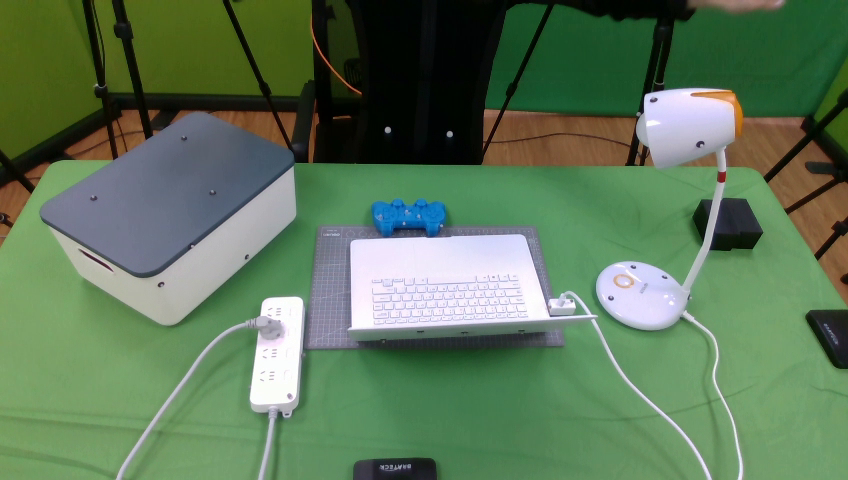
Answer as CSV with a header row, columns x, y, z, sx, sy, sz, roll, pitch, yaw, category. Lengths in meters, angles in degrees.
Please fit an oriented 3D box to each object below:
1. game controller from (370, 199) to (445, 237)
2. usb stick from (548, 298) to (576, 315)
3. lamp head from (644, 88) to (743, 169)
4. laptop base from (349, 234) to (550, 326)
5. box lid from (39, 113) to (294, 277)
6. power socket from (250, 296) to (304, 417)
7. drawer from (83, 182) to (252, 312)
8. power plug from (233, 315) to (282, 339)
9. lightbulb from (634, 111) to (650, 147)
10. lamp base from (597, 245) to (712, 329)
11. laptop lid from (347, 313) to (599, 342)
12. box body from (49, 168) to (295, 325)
x,y,z,sx,sy,sz,roll,pitch,yaw,category
-0.032,-0.054,1.229,0.155,0.052,0.096,0,48,-4,game controller
0.240,0.119,1.086,0.059,0.027,0.021,-2,52,-2,usb stick
0.380,-0.161,0.851,0.122,0.113,0.112,-4,42,25,lamp head
0.040,0.081,1.125,0.355,0.023,0.234,-2,43,-6,laptop base
-0.435,-0.096,1.056,0.262,0.015,0.370,25,48,18,box lid
-0.239,0.182,0.996,0.072,0.033,0.225,-2,47,-5,power socket
-0.458,0.007,1.099,0.194,0.073,0.211,30,49,20,drawer
-0.271,0.144,1.000,0.072,0.053,0.035,5,46,4,power plug
0.348,-0.163,0.852,0.059,0.060,0.107,-36,19,-32,lightbulb
0.418,0.051,1.072,0.179,0.181,0.160,22,49,13,lamp base
0.062,0.137,0.932,0.357,0.242,0.013,-2,77,-8,laptop lid
-0.437,-0.046,1.110,0.253,0.161,0.363,24,49,19,box body
